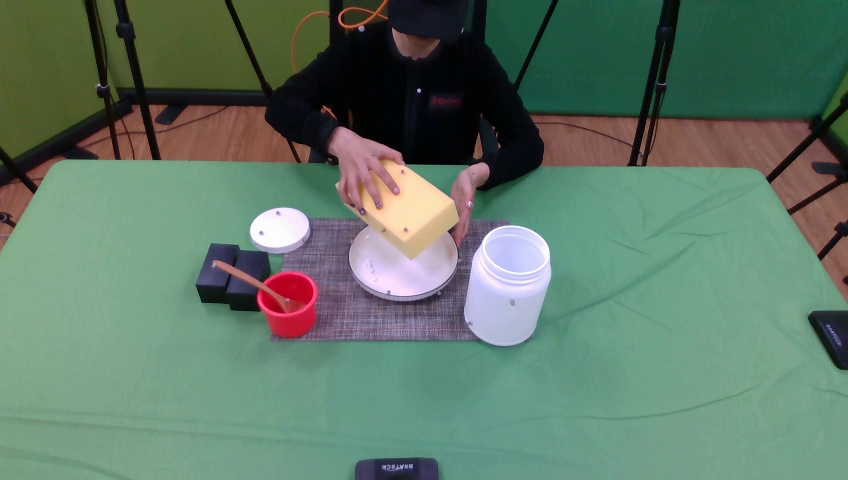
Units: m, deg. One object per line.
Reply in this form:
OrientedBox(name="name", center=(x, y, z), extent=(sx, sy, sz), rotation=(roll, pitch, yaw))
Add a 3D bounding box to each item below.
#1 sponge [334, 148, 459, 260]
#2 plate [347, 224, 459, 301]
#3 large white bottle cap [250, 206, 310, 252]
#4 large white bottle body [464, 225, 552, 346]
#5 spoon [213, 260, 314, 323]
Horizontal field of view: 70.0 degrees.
OrientedBox(name="sponge", center=(-0.052, -0.070, 1.106), extent=(0.118, 0.061, 0.205), rotation=(-41, 56, -16))
OrientedBox(name="plate", center=(-0.039, 0.035, 1.141), extent=(0.209, 0.038, 0.208), rotation=(0, 48, 0))
OrientedBox(name="large white bottle cap", center=(-0.284, -0.023, 1.197), extent=(0.115, 0.018, 0.114), rotation=(1, 46, -1))
OrientedBox(name="large white bottle body", center=(0.141, 0.076, 1.017), extent=(0.131, 0.185, 0.130), rotation=(2, 46, -2))
OrientedBox(name="spoon", center=(-0.264, 0.083, 1.009), extent=(0.195, 0.021, 0.041), rotation=(40, 39, -28))
